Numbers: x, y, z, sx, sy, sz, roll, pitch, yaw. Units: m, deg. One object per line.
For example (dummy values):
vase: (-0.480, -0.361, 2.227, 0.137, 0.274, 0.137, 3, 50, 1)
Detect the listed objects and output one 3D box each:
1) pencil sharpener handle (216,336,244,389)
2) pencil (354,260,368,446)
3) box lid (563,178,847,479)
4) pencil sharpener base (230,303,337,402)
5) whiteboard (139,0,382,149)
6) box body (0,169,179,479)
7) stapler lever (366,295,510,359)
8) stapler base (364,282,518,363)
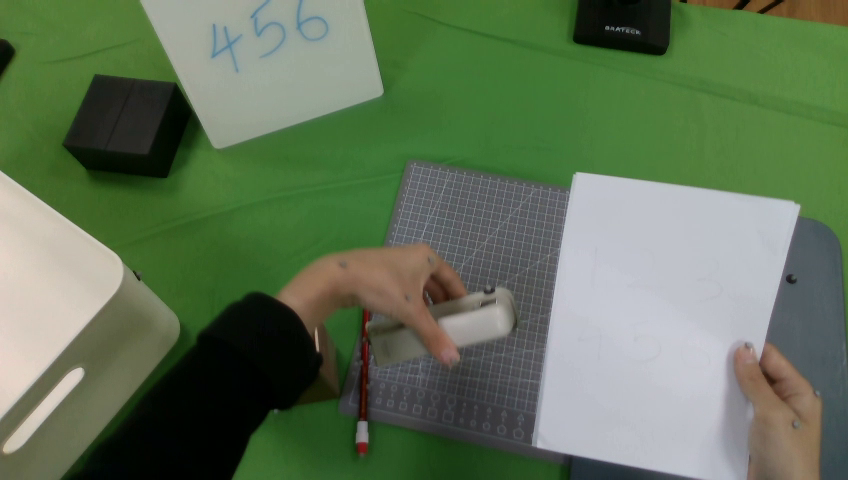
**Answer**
pencil sharpener handle: (-0.178, 0.115, 0.549, 0.031, 0.068, 0.035, -10, 50, -3)
pencil: (-0.063, 0.109, 0.616, 0.012, 0.012, 0.192, -1, 65, 1)
box lid: (0.290, 0.112, 0.612, 0.263, 0.015, 0.369, 11, 67, 4)
pencil sharpener base: (-0.128, 0.108, 0.565, 0.077, 0.108, 0.061, -10, 66, -3)
whiteboard: (-0.196, -0.294, 0.671, 0.217, 0.308, 0.142, -20, 47, -8)
box body: (-0.451, 0.058, 0.561, 0.362, 0.161, 0.253, 31, 70, 13)
stapler lever: (0.010, 0.071, 0.484, 0.118, 0.040, 0.027, -16, 87, 4)
stapler base: (0.014, 0.070, 0.508, 0.130, 0.024, 0.041, -16, 87, 5)
